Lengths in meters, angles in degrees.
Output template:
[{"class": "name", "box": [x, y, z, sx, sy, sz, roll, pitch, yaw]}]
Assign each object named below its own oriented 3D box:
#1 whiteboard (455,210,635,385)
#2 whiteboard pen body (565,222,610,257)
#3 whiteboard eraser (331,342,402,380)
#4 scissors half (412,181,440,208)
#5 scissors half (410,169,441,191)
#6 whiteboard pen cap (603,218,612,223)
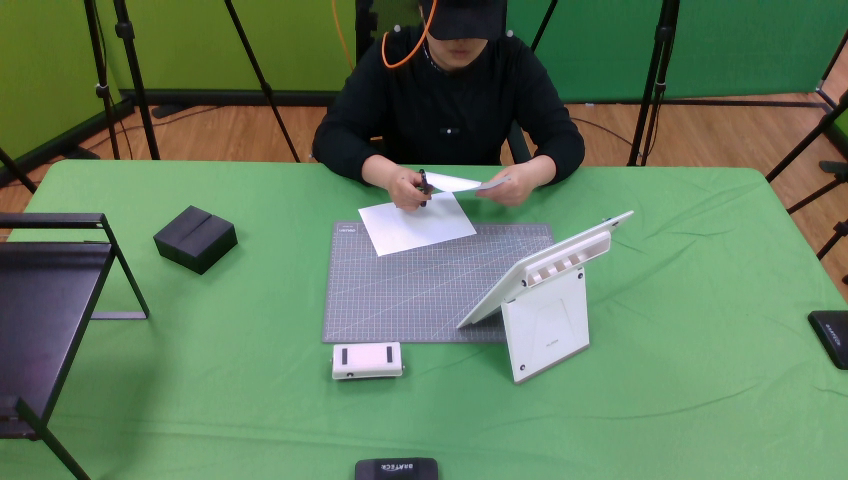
[{"class": "whiteboard", "box": [0.211, 0.111, 0.955, 0.217, 0.306, 0.143, -21, 71, -23]}, {"class": "whiteboard pen body", "box": [0.335, -0.004, 1.228, 0.141, 0.017, 0.017, -32, 56, -29]}, {"class": "whiteboard eraser", "box": [-0.094, 0.198, 0.986, 0.113, 0.042, 0.055, -2, 44, -6]}, {"class": "scissors half", "box": [0.005, -0.090, 1.146, 0.013, 0.175, 0.040, -14, 87, -16]}, {"class": "scissors half", "box": [0.002, -0.110, 1.144, 0.013, 0.040, 0.174, -9, 13, -17]}, {"class": "whiteboard pen cap", "box": [0.379, -0.031, 1.255, 0.033, 0.018, 0.018, -33, 57, -29]}]
